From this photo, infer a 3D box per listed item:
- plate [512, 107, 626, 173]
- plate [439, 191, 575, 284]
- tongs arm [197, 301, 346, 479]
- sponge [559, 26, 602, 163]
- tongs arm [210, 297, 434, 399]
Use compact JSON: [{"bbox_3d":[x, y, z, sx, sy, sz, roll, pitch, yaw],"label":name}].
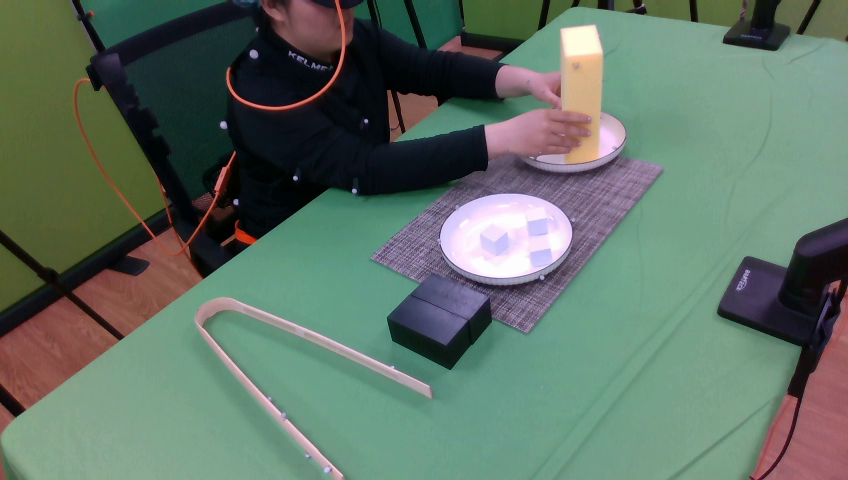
[{"bbox_3d":[0.269,-0.184,1.132,0.209,0.038,0.208,-5,40,5],"label":"plate"},{"bbox_3d":[0.129,-0.001,0.942,0.207,0.039,0.206,-5,40,5],"label":"plate"},{"bbox_3d":[-0.206,0.185,0.791,0.381,0.026,0.051,28,51,37],"label":"tongs arm"},{"bbox_3d":[0.274,-0.253,1.067,0.061,0.208,0.118,-4,41,11],"label":"sponge"},{"bbox_3d":[-0.153,0.143,0.837,0.385,0.028,0.028,16,49,28],"label":"tongs arm"}]
